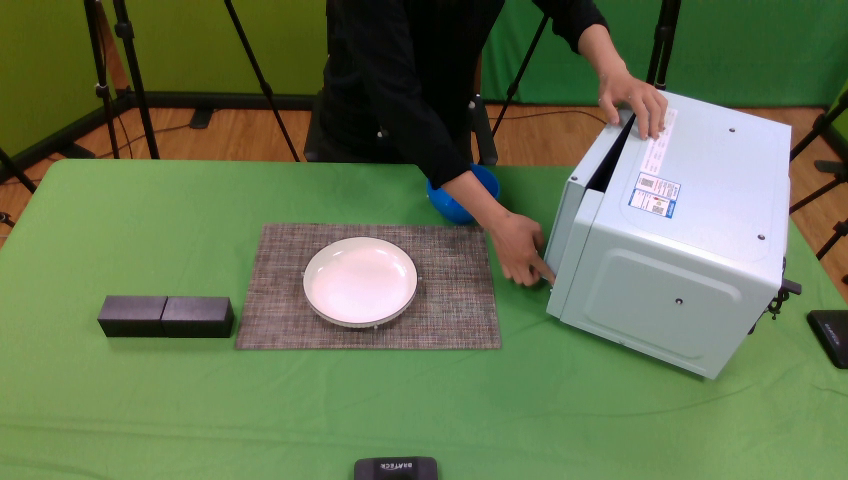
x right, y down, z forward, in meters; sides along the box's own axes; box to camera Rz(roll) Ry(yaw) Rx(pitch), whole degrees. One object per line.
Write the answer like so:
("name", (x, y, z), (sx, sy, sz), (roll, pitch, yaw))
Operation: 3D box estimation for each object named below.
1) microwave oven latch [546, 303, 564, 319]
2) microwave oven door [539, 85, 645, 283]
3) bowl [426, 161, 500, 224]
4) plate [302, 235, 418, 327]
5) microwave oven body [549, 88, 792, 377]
("microwave oven latch", (0.242, 0.102, 1.081), (0.030, 0.029, 0.079), (22, 48, 17))
("microwave oven door", (0.326, -0.114, 1.154), (0.039, 0.245, 0.355), (25, 49, 19))
("bowl", (0.077, -0.086, 1.248), (0.151, 0.077, 0.150), (2, 46, -2))
("plate", (-0.114, 0.077, 1.098), (0.208, 0.039, 0.206), (2, 46, -2))
("microwave oven body", (0.456, -0.028, 1.088), (0.325, 0.261, 0.440), (20, 47, 16))
